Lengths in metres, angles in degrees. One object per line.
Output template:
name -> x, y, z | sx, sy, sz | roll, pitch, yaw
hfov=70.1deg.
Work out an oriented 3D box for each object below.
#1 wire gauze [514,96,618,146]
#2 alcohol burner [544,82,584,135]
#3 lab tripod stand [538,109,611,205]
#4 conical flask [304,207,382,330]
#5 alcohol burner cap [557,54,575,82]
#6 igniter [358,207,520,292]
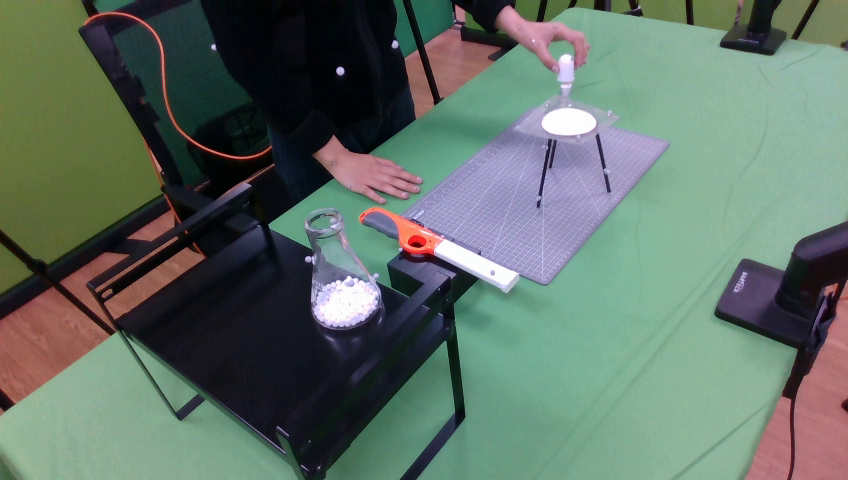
wire gauze -> 0.229, -0.190, 0.969 | 0.120, 0.011, 0.125 | 26, 50, 33
alcohol burner -> 0.269, -0.256, 1.161 | 0.078, 0.119, 0.077 | -5, 38, 5
lab tripod stand -> 0.244, -0.141, 1.014 | 0.148, 0.132, 0.147 | -3, 39, 3
conical flask -> -0.088, 0.025, 0.601 | 0.075, 0.122, 0.075 | -5, 40, 5
alcohol burner cap -> 0.261, -0.320, 1.116 | 0.034, 0.048, 0.033 | -7, 40, 6
igniter -> 0.014, 0.008, 0.886 | 0.274, 0.025, 0.057 | 25, 52, 29
